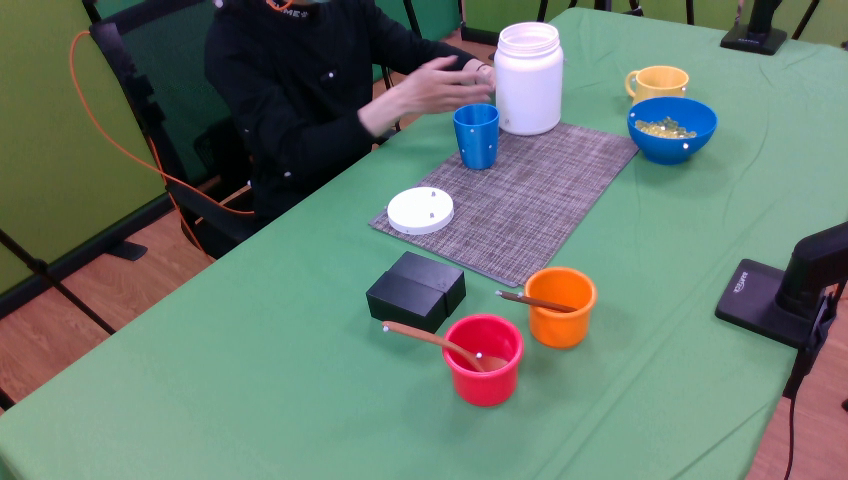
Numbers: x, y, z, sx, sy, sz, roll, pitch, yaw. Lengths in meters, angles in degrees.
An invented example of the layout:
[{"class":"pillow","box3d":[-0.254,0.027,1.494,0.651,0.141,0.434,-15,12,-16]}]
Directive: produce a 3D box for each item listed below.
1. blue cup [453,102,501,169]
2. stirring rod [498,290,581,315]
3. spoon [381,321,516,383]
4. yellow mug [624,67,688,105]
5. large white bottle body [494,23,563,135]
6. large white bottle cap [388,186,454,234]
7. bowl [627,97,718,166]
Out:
[{"class":"blue cup","box3d":[0.099,-0.188,1.114,0.092,0.100,0.092,-4,39,3]},{"class":"stirring rod","box3d":[0.151,0.081,0.772,0.178,0.006,0.014,16,19,-44]},{"class":"spoon","box3d":[0.033,0.131,0.725,0.195,0.021,0.041,29,30,-26]},{"class":"yellow mug","box3d":[0.464,-0.305,1.230,0.100,0.064,0.129,-34,46,-27]},{"class":"large white bottle body","box3d":[0.204,-0.314,1.182,0.130,0.185,0.130,-5,41,4]},{"class":"large white bottle cap","box3d":[-0.006,-0.052,1.036,0.115,0.018,0.114,-4,41,4]},{"class":"bowl","box3d":[0.439,-0.187,1.087,0.151,0.077,0.150,-4,41,4]}]
